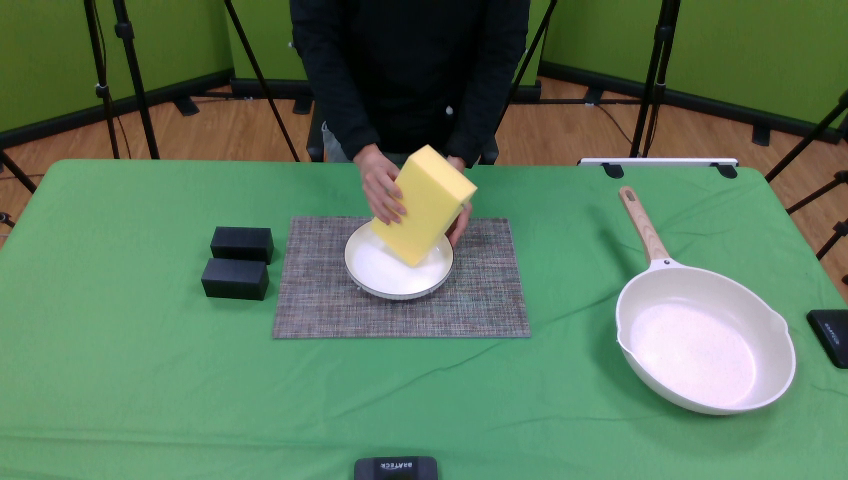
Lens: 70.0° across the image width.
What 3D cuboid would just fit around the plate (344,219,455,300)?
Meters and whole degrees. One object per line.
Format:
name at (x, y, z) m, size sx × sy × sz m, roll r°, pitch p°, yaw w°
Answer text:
plate at (-0.045, 0.035, 1.146) m, size 0.208 × 0.039 × 0.206 m, roll 2°, pitch 46°, yaw -2°

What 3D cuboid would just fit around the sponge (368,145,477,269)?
sponge at (-0.008, -0.055, 1.093) m, size 0.118 × 0.207 × 0.061 m, roll 42°, pitch 46°, yaw 6°

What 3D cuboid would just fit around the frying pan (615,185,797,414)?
frying pan at (0.450, 0.087, 1.092) m, size 0.307 × 0.103 × 0.484 m, roll -4°, pitch 55°, yaw -10°
